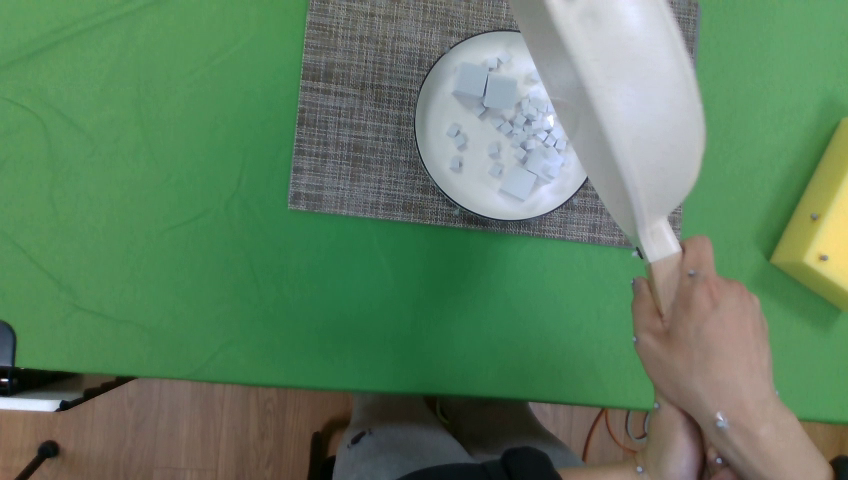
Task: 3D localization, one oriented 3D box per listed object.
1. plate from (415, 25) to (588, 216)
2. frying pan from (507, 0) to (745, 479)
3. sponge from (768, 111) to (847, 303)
[{"bbox_3d":[0.092,-0.128,0.667,0.208,0.039,0.207,0,89,-8],"label":"plate"},{"bbox_3d":[0.154,-0.048,0.457,0.102,0.308,0.486,-16,85,13],"label":"frying pan"},{"bbox_3d":[0.516,-0.041,0.715,0.118,0.061,0.206,30,86,-5],"label":"sponge"}]
